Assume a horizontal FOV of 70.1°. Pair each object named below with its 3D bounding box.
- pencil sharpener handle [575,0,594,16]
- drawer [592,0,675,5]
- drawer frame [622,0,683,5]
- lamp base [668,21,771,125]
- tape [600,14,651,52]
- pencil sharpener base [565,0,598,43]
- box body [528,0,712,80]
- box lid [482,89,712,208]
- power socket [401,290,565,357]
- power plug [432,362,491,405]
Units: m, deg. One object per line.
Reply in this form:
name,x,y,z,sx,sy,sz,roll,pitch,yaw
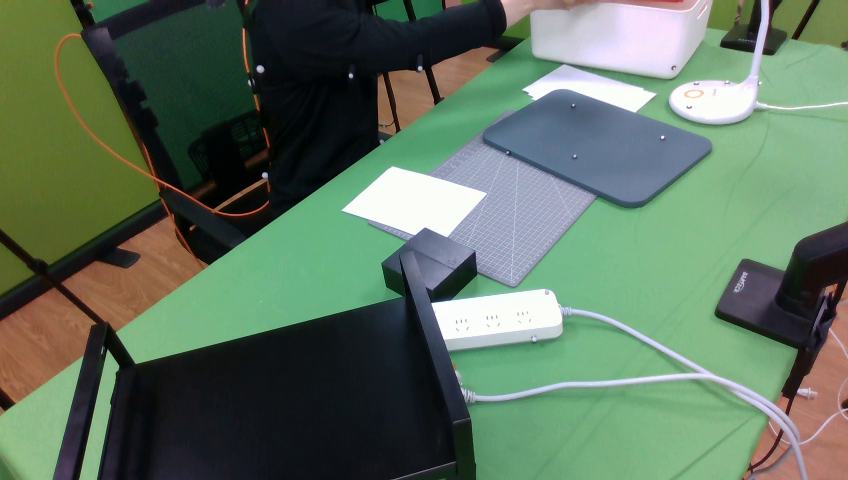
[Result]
pencil sharpener handle,0.402,-0.594,1.512,0.036,0.067,0.030,35,48,0
drawer,0.434,-0.576,1.294,0.211,0.073,0.194,7,42,6
drawer frame,0.438,-0.579,1.291,0.213,0.083,0.201,6,41,6
lamp base,0.577,-0.333,1.155,0.179,0.181,0.160,6,42,12
tape,0.485,-0.497,1.451,0.117,0.053,0.116,-5,40,4
pencil sharpener base,0.388,-0.550,1.484,0.061,0.107,0.077,13,44,23
box body,0.451,-0.513,1.399,0.361,0.161,0.254,19,47,28
box lid,0.320,-0.190,1.156,0.264,0.015,0.368,-33,47,-28
power socket,0.080,0.113,0.821,0.227,0.033,0.072,-7,41,0
power plug,0.045,0.182,0.758,0.073,0.035,0.052,22,43,-18
